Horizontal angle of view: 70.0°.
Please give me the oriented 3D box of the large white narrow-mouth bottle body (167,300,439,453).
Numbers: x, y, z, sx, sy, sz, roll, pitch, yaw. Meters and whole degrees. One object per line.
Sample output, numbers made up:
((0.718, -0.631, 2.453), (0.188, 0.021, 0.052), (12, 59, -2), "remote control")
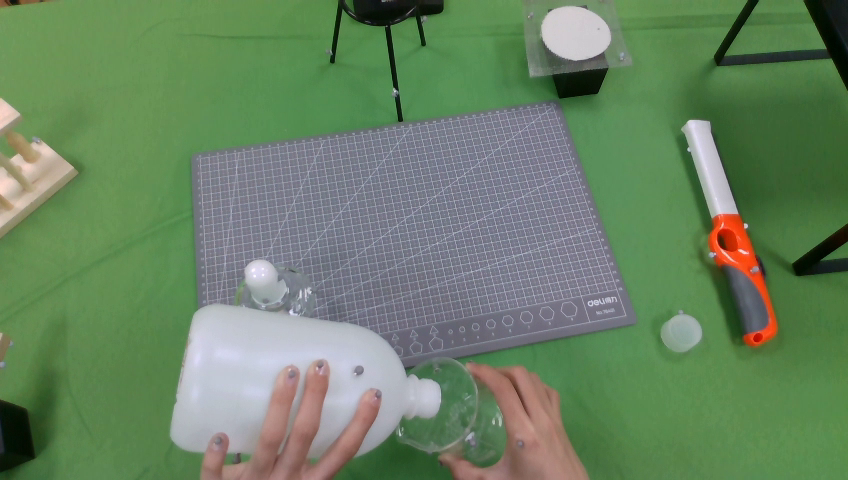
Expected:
((-0.082, 0.108, 0.457), (0.196, 0.102, 0.101), (11, 63, -21), "large white narrow-mouth bottle body")

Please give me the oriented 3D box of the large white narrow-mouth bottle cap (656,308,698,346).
((0.263, 0.090, 0.632), (0.038, 0.024, 0.037), (1, 65, -1), "large white narrow-mouth bottle cap")

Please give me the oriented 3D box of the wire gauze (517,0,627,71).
((0.176, -0.259, 0.740), (0.121, 0.011, 0.124), (-3, 65, -3), "wire gauze")

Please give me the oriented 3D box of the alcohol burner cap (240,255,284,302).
((-0.150, 0.033, 0.551), (0.034, 0.048, 0.033), (-1, 61, 2), "alcohol burner cap")

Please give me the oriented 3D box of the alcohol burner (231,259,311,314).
((-0.150, 0.048, 0.584), (0.078, 0.120, 0.077), (1, 64, -3), "alcohol burner")

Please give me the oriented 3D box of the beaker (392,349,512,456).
((0.026, 0.147, 0.523), (0.084, 0.101, 0.073), (-41, 53, 5), "beaker")

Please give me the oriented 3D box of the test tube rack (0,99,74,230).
((-0.503, -0.032, 0.628), (0.066, 0.086, 0.242), (36, 69, 14), "test tube rack")

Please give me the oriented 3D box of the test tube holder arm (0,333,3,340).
((-0.405, 0.125, 0.547), (0.010, 0.015, 0.087), (-3, 63, 11), "test tube holder arm")

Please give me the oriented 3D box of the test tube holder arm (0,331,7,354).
((-0.401, 0.165, 0.526), (0.013, 0.015, 0.177), (-4, 63, 10), "test tube holder arm")

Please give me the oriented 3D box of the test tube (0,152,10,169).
((-0.473, -0.116, 0.613), (0.017, 0.151, 0.017), (-1, 64, 2), "test tube")

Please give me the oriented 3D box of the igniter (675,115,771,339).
((0.333, -0.023, 0.681), (0.057, 0.025, 0.274), (0, 65, -13), "igniter")

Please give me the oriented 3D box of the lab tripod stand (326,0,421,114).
((-0.052, -0.244, 0.712), (0.148, 0.132, 0.147), (1, 66, -3), "lab tripod stand")
